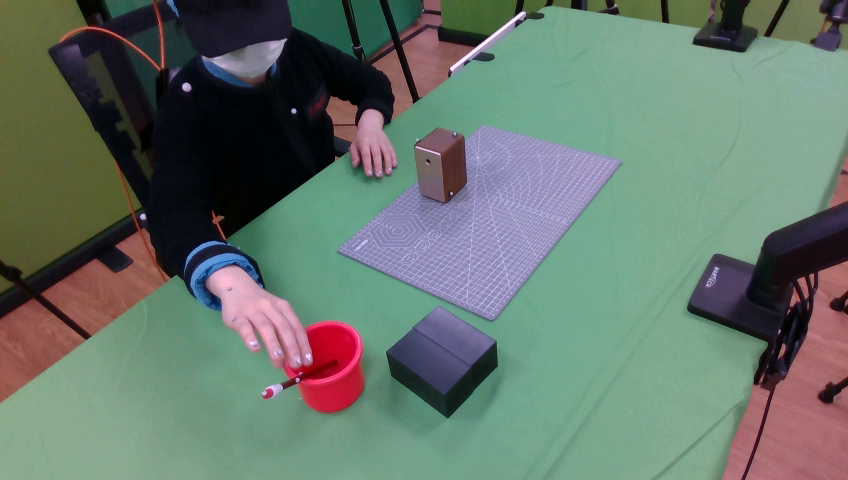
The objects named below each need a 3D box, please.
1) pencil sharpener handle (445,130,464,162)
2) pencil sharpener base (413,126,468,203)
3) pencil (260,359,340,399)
[{"bbox_3d":[0.059,-0.171,1.070,0.036,0.068,0.031,26,50,25],"label":"pencil sharpener handle"},{"bbox_3d":[0.032,-0.132,1.047,0.061,0.107,0.077,22,48,30],"label":"pencil sharpener base"},{"bbox_3d":[-0.137,0.157,0.706,0.012,0.012,0.195,6,1,15],"label":"pencil"}]
